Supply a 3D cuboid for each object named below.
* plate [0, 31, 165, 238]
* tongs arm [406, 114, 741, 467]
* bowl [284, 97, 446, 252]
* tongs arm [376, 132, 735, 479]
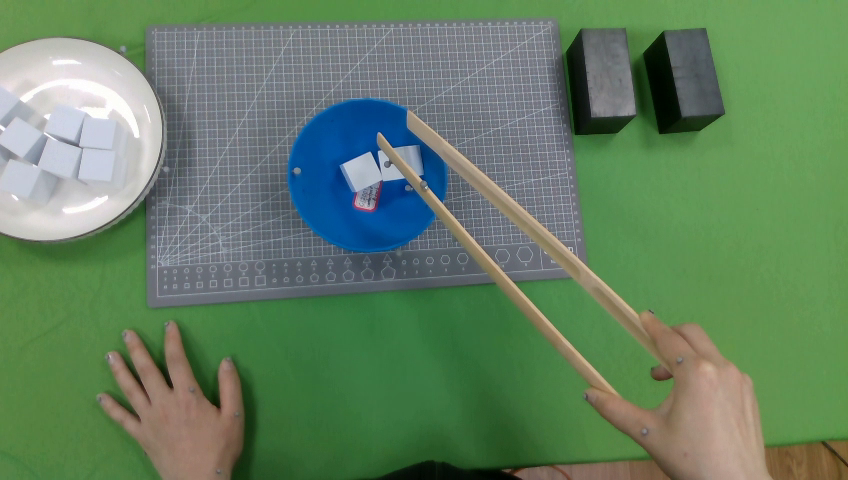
[{"bbox_3d":[-0.359,-0.101,0.596,0.208,0.039,0.207,1,80,-5],"label":"plate"},{"bbox_3d":[0.105,0.022,0.501,0.028,0.028,0.384,-34,68,-23],"label":"tongs arm"},{"bbox_3d":[-0.057,-0.056,0.600,0.151,0.077,0.151,1,80,-6],"label":"bowl"},{"bbox_3d":[0.086,0.035,0.493,0.051,0.027,0.381,-31,67,-19],"label":"tongs arm"}]
